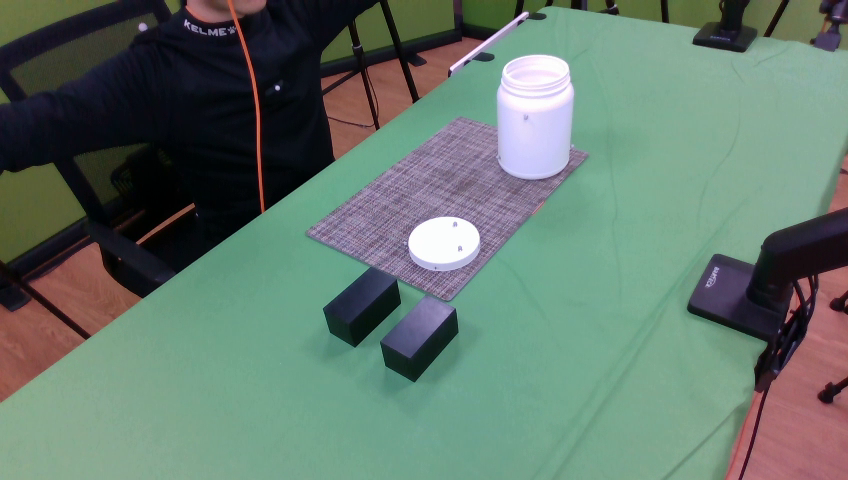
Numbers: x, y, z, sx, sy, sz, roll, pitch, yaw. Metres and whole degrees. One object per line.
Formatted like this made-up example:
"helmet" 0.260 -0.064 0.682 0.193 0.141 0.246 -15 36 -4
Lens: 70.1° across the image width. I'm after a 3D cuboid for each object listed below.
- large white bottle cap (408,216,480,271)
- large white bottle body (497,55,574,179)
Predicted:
"large white bottle cap" 0.032 0.004 0.957 0.115 0.018 0.114 -4 41 4
"large white bottle body" 0.194 -0.216 1.060 0.130 0.185 0.130 -4 41 4
